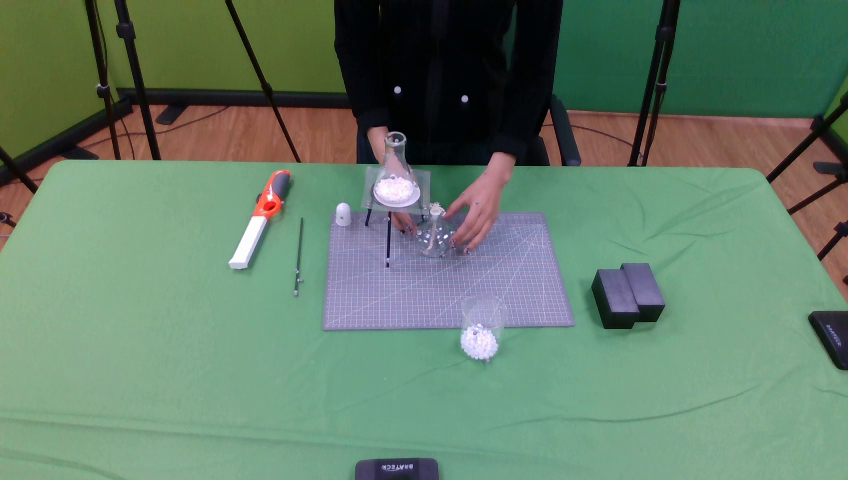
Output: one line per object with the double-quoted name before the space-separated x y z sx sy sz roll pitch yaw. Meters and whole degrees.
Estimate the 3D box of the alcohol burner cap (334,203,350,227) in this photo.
"alcohol burner cap" -0.166 -0.054 1.220 0.034 0.048 0.033 2 46 -2

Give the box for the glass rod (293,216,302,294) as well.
"glass rod" -0.242 0.024 1.166 0.008 0.008 0.198 -2 47 -5

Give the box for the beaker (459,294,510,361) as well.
"beaker" 0.095 0.147 1.012 0.083 0.101 0.074 26 49 21

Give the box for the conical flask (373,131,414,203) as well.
"conical flask" -0.053 -0.131 1.067 0.075 0.122 0.075 2 44 -2

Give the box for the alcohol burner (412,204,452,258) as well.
"alcohol burner" 0.017 -0.023 1.156 0.078 0.119 0.077 4 45 -4

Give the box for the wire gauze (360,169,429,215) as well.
"wire gauze" -0.052 -0.092 1.111 0.125 0.011 0.120 3 43 1

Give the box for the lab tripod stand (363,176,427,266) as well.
"lab tripod stand" -0.058 -0.046 1.159 0.148 0.132 0.147 3 44 -2

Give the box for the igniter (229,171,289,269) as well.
"igniter" -0.328 -0.049 1.218 0.057 0.025 0.275 1 45 11
